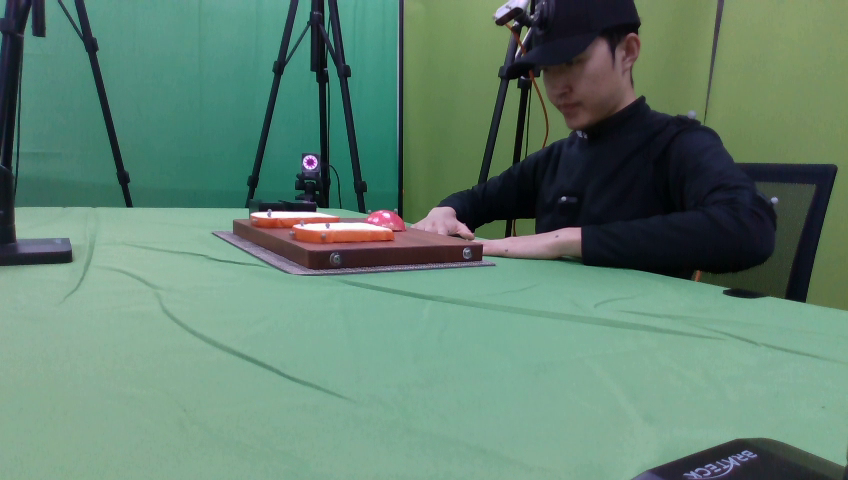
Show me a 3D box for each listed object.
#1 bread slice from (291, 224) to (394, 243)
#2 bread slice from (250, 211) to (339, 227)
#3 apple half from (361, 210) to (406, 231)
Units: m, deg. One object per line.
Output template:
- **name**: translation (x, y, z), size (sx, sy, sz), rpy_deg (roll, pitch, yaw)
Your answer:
- **bread slice**: translation (-0.122, -0.011, 0.869), size (0.132, 0.019, 0.104), rpy_deg (-1, 7, -32)
- **bread slice**: translation (-0.223, -0.035, 1.021), size (0.135, 0.018, 0.106), rpy_deg (-3, 9, -33)
- **apple half**: translation (-0.065, -0.034, 1.011), size (0.081, 0.033, 0.081), rpy_deg (2, 4, 0)
